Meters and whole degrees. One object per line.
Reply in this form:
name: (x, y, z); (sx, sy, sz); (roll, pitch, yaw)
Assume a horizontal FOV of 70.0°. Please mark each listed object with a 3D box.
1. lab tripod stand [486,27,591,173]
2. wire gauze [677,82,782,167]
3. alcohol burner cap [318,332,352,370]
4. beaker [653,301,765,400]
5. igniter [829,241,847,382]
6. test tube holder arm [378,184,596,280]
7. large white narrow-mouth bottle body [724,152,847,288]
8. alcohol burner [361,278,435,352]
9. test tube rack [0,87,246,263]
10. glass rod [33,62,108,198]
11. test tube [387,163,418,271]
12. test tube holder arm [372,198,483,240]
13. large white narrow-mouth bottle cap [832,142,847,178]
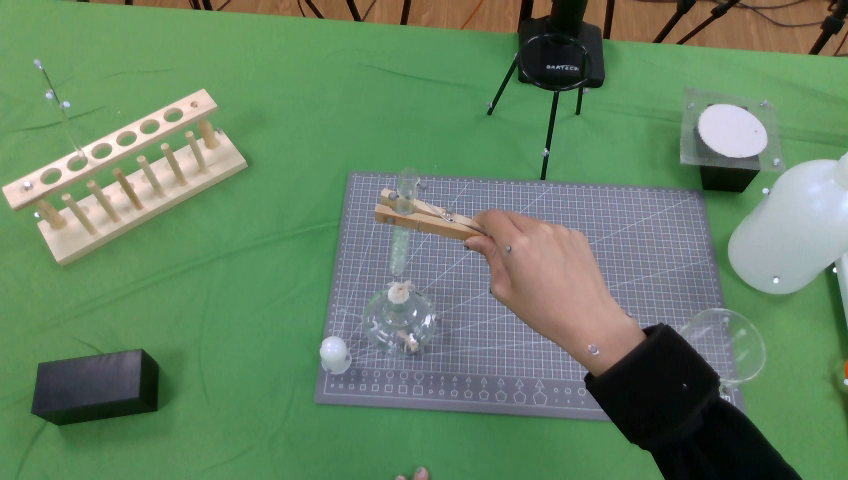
lab tripod stand: (0.150, -0.180, 0.755); (0.148, 0.132, 0.147); (1, 62, -2)
wire gauze: (0.377, -0.144, 0.754); (0.121, 0.011, 0.124); (10, 61, 5)
alcohol burner cap: (-0.095, 0.114, 0.634); (0.034, 0.048, 0.033); (0, 62, 1)
beaker: (0.277, 0.115, 0.609); (0.084, 0.101, 0.073); (8, 60, 5)
igniter: (0.477, 0.117, 0.656); (0.057, 0.025, 0.274); (13, 61, -5)
test tube holder arm: (0.047, -0.007, 0.470); (0.178, 0.015, 0.013); (20, 58, 6)
large white narrow-mouth bottle body: (0.405, -0.031, 0.642); (0.102, 0.196, 0.101); (0, 60, 0)
alcohol burner: (-0.026, 0.070, 0.620); (0.078, 0.120, 0.077); (2, 60, -2)
test tube rack: (-0.343, -0.079, 0.715); (0.242, 0.086, 0.066); (-33, 66, -18)
glass rod: (-0.377, -0.107, 0.654); (0.008, 0.201, 0.008); (3, 52, -3)
test tube: (-0.019, -0.013, 0.498); (0.017, 0.151, 0.017); (3, 60, -5)
test tube holder arm: (0.003, -0.016, 0.471); (0.088, 0.015, 0.010); (13, 57, 1)
large white narrow-mouth bottle cap: (0.406, -0.076, 0.567); (0.038, 0.024, 0.037); (1, 60, -1)
